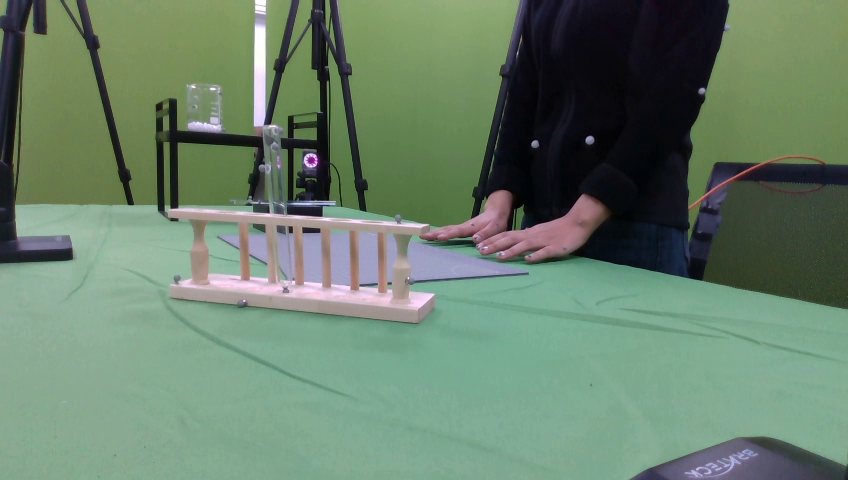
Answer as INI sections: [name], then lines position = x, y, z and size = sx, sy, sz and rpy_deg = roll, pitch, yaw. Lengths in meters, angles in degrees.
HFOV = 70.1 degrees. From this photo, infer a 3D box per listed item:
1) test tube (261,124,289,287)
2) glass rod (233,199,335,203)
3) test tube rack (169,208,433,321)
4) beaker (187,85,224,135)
[test tube]
position = -0.137, -0.031, 0.556
size = 0.017, 0.150, 0.017
rpy_deg = -3, 6, 1
[glass rod]
position = -0.264, -0.076, 1.160
size = 0.201, 0.008, 0.008
rpy_deg = -2, 9, -31
[test tube rack]
position = -0.115, 0.018, 0.574
size = 0.242, 0.085, 0.067
rpy_deg = 4, 8, 13
[beaker]
position = -0.466, -0.275, 1.286
size = 0.074, 0.100, 0.084
rpy_deg = 5, 8, 22
